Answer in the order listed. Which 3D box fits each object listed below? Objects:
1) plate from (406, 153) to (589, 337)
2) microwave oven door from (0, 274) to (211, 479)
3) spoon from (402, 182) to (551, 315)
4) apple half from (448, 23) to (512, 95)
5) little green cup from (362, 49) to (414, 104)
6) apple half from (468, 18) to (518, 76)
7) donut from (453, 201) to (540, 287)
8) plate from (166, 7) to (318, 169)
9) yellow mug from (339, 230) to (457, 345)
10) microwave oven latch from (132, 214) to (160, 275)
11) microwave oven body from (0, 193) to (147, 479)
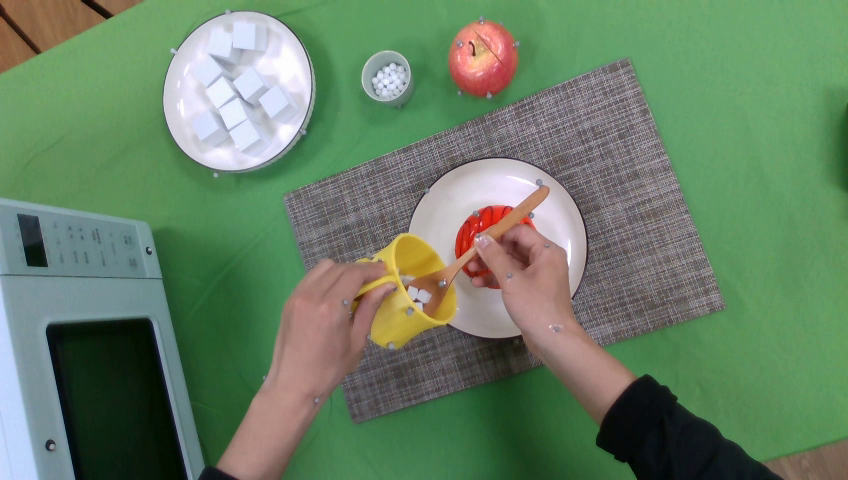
[{"bbox_3d":[0.082,0.006,0.697,0.208,0.038,0.208,-1,87,12],"label":"plate"},{"bbox_3d":[-0.331,0.211,0.657,0.039,0.245,0.354,-17,83,11],"label":"microwave oven door"},{"bbox_3d":[0.047,0.011,0.583,0.194,0.022,0.041,-41,73,15],"label":"spoon"},{"bbox_3d":[0.058,-0.200,0.700,0.053,0.075,0.080,-41,83,12],"label":"apple half"},{"bbox_3d":[-0.041,-0.197,0.739,0.061,0.039,0.061,-1,87,13],"label":"little green cup"},{"bbox_3d":[0.087,-0.226,0.694,0.033,0.081,0.081,-41,79,11],"label":"apple half"},{"bbox_3d":[0.082,0.004,0.685,0.099,0.048,0.099,0,89,13],"label":"donut"},{"bbox_3d":[-0.230,-0.191,0.780,0.207,0.039,0.207,-1,87,12],"label":"plate"},{"bbox_3d":[-0.030,0.048,0.594,0.064,0.131,0.099,-30,74,28],"label":"yellow mug"},{"bbox_3d":[-0.365,0.007,0.779,0.030,0.029,0.079,-14,85,11],"label":"microwave oven latch"},{"bbox_3d":[-0.479,0.212,0.694,0.326,0.261,0.440,-17,84,10],"label":"microwave oven body"}]
